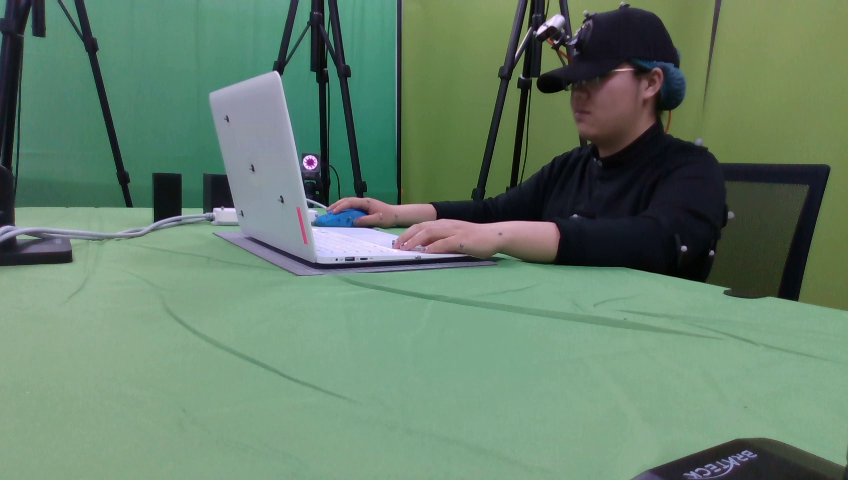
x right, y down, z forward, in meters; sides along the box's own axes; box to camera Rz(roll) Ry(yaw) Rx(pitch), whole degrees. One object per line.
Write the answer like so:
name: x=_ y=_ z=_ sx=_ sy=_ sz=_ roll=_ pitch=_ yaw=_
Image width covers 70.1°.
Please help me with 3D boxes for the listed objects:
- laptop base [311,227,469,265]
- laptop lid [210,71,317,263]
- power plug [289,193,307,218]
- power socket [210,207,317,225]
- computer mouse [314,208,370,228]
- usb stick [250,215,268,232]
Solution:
laptop base: x=-0.123 y=0.007 z=0.952 sx=0.237 sy=0.023 sz=0.352 roll=2 pitch=6 yaw=-32
laptop lid: x=-0.241 y=-0.104 z=0.861 sx=0.013 sy=0.241 sz=0.355 roll=-16 pitch=17 yaw=-29
power plug: x=-0.281 y=-0.076 z=1.341 sx=0.035 sy=0.052 sz=0.072 roll=3 pitch=7 yaw=-17
power socket: x=-0.334 y=-0.051 z=1.281 sx=0.228 sy=0.032 sz=0.072 roll=-1 pitch=8 yaw=-28
computer mouse: x=-0.175 y=-0.047 z=1.292 sx=0.118 sy=0.041 sz=0.062 roll=-6 pitch=12 yaw=-25
usb stick: x=-0.290 y=-0.028 z=1.070 sx=0.021 sy=0.027 sz=0.059 roll=-2 pitch=12 yaw=-31
